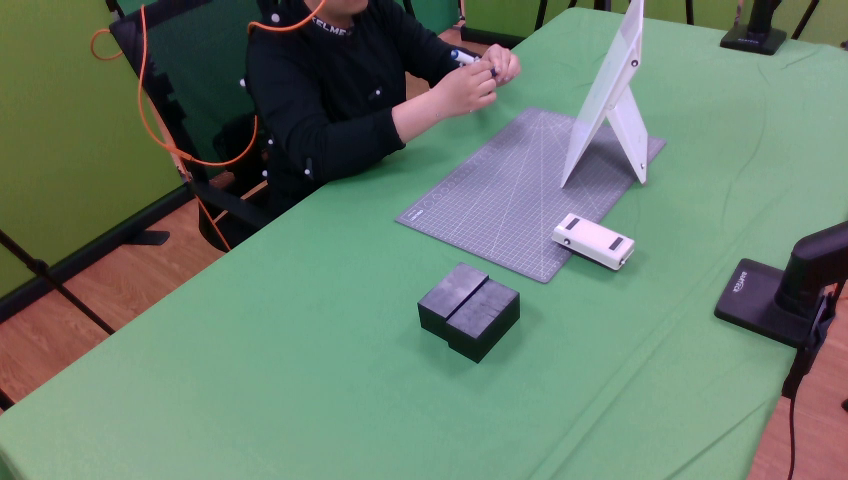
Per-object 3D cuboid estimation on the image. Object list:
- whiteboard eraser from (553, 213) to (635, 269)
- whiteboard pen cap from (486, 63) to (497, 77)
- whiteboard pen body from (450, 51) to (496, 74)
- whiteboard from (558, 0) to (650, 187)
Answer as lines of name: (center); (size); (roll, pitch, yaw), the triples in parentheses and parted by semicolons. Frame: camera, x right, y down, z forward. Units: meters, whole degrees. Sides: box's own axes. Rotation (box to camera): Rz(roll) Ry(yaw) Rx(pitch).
whiteboard eraser: (0.257, 0.003, 0.918); (0.112, 0.042, 0.056); (27, 49, 30)
whiteboard pen cap: (0.129, -0.324, 1.157); (0.018, 0.033, 0.018); (1, 82, -6)
whiteboard pen body: (0.094, -0.321, 1.106); (0.017, 0.017, 0.142); (28, 16, 35)
whiteboard: (0.362, -0.238, 1.026); (0.144, 0.306, 0.217); (21, 45, 4)
